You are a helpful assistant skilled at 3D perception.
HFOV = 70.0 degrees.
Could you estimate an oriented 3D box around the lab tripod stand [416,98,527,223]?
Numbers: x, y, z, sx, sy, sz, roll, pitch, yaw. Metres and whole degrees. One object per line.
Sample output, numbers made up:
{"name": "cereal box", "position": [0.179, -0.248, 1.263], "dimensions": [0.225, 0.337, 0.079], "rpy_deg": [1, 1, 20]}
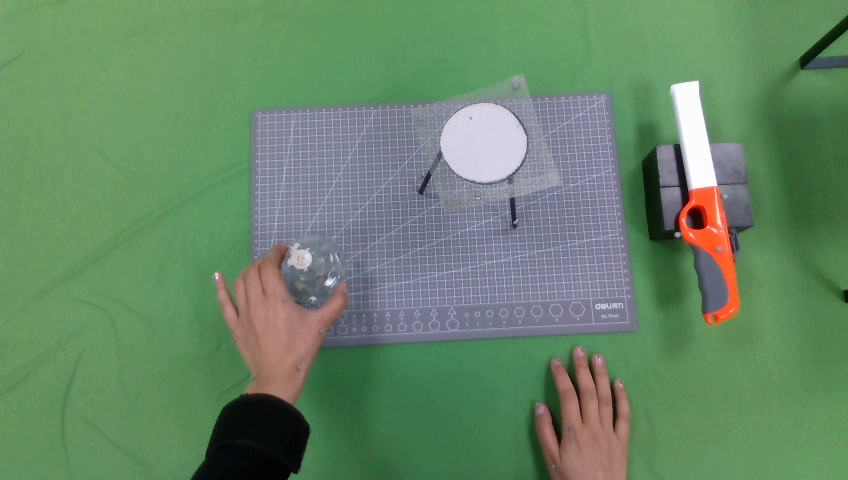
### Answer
{"name": "lab tripod stand", "position": [0.061, -0.093, 0.675], "dimensions": [0.148, 0.132, 0.147], "rpy_deg": [0, 77, 2]}

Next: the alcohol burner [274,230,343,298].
{"name": "alcohol burner", "position": [-0.129, 0.024, 0.662], "dimensions": [0.078, 0.119, 0.077], "rpy_deg": [0, 80, -1]}

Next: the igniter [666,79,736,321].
{"name": "igniter", "position": [0.307, -0.048, 0.675], "dimensions": [0.057, 0.025, 0.275], "rpy_deg": [-6, 78, 11]}

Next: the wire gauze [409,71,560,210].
{"name": "wire gauze", "position": [0.060, -0.100, 0.608], "dimensions": [0.125, 0.011, 0.121], "rpy_deg": [-16, 79, -3]}

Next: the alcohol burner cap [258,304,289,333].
{"name": "alcohol burner cap", "position": [-0.173, 0.089, 0.687], "dimensions": [0.034, 0.048, 0.034], "rpy_deg": [0, 82, -3]}
